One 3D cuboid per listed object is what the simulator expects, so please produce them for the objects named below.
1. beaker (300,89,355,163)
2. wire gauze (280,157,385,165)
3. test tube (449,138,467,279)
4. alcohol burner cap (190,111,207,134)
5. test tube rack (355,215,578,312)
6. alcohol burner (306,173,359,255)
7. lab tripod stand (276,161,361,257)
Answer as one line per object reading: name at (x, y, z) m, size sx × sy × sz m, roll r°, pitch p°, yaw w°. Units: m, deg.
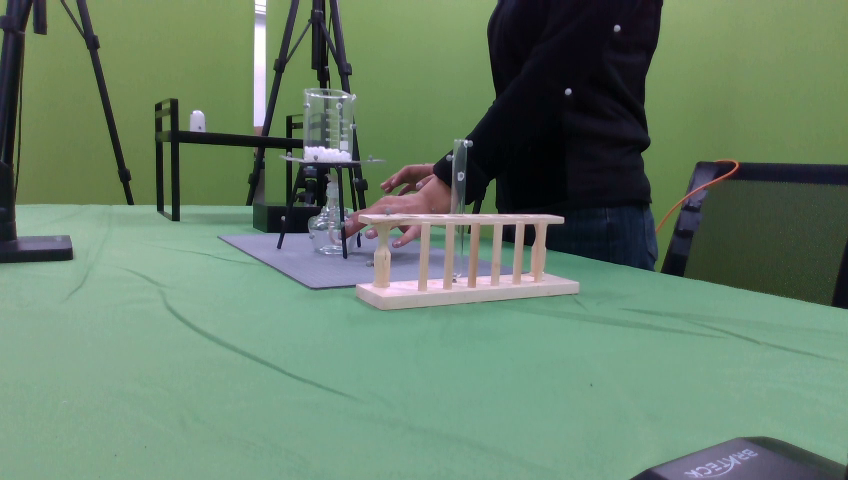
beaker at (-0.136, -0.161, 0.867) m, size 0.083 × 0.100 × 0.074 m, roll 5°, pitch 8°, yaw 24°
wire gauze at (-0.134, -0.113, 0.875) m, size 0.122 × 0.011 × 0.124 m, roll -1°, pitch 6°, yaw -30°
test tube at (0.035, -0.033, 0.645) m, size 0.017 × 0.150 × 0.017 m, roll 2°, pitch 4°, yaw 0°
alcohol burner cap at (-0.469, -0.244, 1.257) m, size 0.034 × 0.048 × 0.034 m, roll 1°, pitch 6°, yaw 0°
test tube rack at (0.053, 0.018, 0.641) m, size 0.243 × 0.085 × 0.066 m, roll -1°, pitch 8°, yaw -29°
alcohol burner at (-0.133, -0.039, 0.883) m, size 0.078 × 0.119 × 0.078 m, roll 2°, pitch 6°, yaw 0°
lab tripod stand at (-0.143, -0.049, 0.884) m, size 0.148 × 0.131 × 0.148 m, roll 2°, pitch 9°, yaw 0°
